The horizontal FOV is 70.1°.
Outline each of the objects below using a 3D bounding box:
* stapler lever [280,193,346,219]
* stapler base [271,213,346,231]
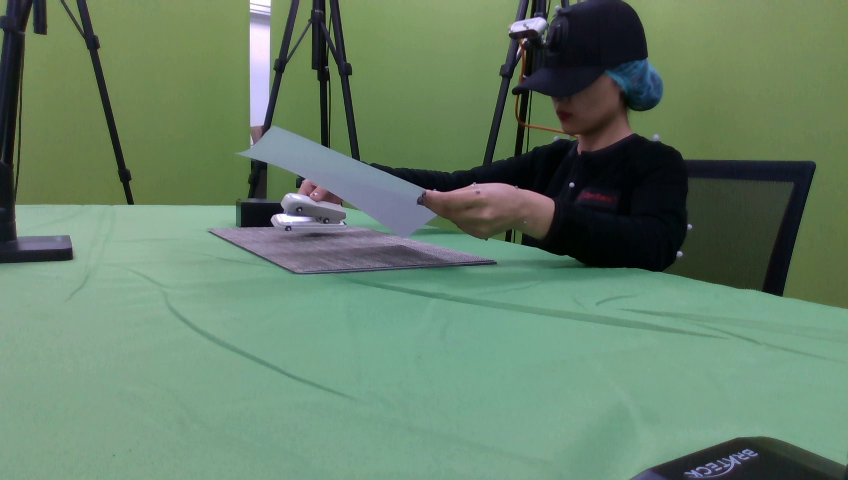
[{"bbox_3d":[-0.187,-0.057,1.030,0.119,0.040,0.026,-1,39,-37],"label":"stapler lever"},{"bbox_3d":[-0.196,-0.037,1.041,0.131,0.024,0.041,-1,39,-37],"label":"stapler base"}]
